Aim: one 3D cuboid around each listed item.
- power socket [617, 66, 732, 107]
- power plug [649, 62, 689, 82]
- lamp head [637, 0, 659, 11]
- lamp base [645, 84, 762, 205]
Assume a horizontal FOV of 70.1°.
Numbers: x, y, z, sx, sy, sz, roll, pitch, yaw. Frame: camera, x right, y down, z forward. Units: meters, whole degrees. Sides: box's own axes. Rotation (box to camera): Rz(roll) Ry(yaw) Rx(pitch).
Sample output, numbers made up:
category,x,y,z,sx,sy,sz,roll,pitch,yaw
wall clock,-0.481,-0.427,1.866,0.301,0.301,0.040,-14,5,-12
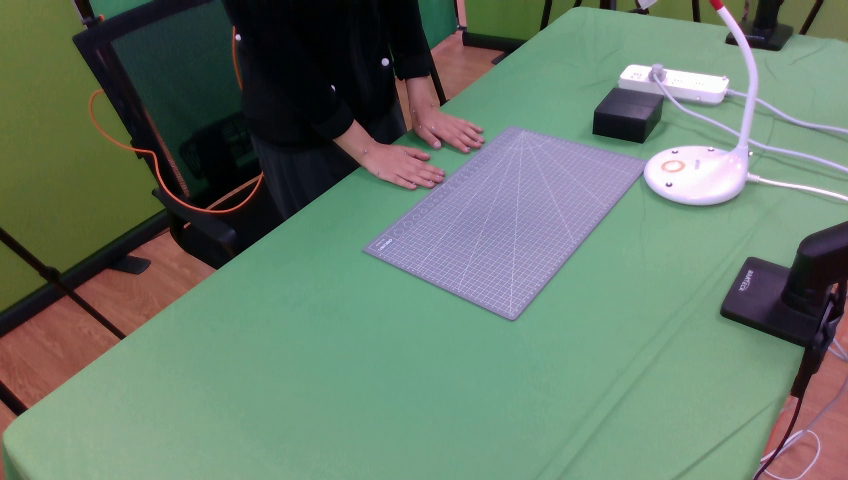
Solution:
category,x,y,z,sx,sy,sz,roll,pitch,yaw
power socket,0.517,-0.322,1.259,0.225,0.033,0.072,19,49,29
power plug,0.504,-0.339,1.247,0.072,0.053,0.035,9,58,12
lamp head,0.330,-0.391,0.827,0.122,0.113,0.112,-21,35,25
lamp base,0.461,-0.170,0.975,0.179,0.181,0.160,2,41,11
